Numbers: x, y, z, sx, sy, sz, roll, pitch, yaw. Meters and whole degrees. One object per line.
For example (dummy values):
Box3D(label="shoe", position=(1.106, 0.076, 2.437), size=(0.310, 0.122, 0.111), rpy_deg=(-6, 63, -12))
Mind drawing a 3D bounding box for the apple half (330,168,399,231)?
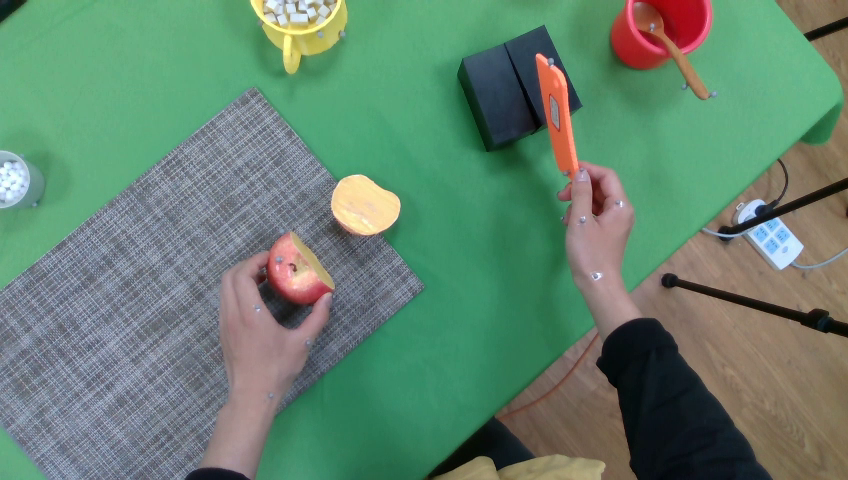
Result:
Box3D(label="apple half", position=(-0.072, -0.038, 0.678), size=(0.081, 0.033, 0.080), rpy_deg=(10, 57, -15))

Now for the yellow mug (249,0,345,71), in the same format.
Box3D(label="yellow mug", position=(-0.141, -0.253, 0.668), size=(0.100, 0.064, 0.130), rpy_deg=(8, 89, -4))

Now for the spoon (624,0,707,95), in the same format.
Box3D(label="spoon", position=(0.262, -0.215, 0.658), size=(0.041, 0.022, 0.191), rpy_deg=(-6, 44, -2))

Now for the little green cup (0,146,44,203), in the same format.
Box3D(label="little green cup", position=(-0.448, -0.068, 0.655), size=(0.061, 0.038, 0.061), rpy_deg=(0, 88, -4))

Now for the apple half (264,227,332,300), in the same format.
Box3D(label="apple half", position=(-0.142, 0.032, 0.654), size=(0.053, 0.074, 0.081), rpy_deg=(-36, 95, -1))

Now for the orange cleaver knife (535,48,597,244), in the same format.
Box3D(label="orange cleaver knife", position=(0.150, -0.096, 0.643), size=(0.012, 0.076, 0.213), rpy_deg=(-19, 114, 0))
